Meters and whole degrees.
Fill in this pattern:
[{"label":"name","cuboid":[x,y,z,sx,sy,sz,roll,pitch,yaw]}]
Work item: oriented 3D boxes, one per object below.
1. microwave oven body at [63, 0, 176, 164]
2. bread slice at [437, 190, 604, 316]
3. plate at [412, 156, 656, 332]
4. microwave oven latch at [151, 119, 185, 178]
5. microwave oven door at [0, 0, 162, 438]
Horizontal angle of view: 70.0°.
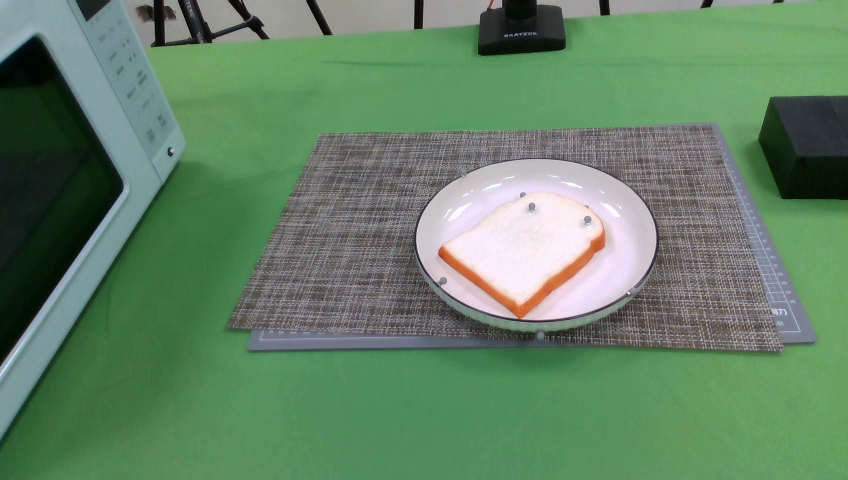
[{"label":"microwave oven body","cuboid":[-0.476,-0.048,0.521,0.325,0.263,0.437,-1,45,8]},{"label":"bread slice","cuboid":[0.091,0.001,0.539,0.131,0.019,0.104,-34,49,-24]},{"label":"plate","cuboid":[0.094,0.001,0.536,0.209,0.038,0.207,-5,43,5]},{"label":"microwave oven latch","cuboid":[-0.301,-0.104,0.691,0.030,0.030,0.078,0,45,9]},{"label":"microwave oven door","cuboid":[-0.336,-0.026,0.466,0.039,0.246,0.352,-1,44,9]}]
